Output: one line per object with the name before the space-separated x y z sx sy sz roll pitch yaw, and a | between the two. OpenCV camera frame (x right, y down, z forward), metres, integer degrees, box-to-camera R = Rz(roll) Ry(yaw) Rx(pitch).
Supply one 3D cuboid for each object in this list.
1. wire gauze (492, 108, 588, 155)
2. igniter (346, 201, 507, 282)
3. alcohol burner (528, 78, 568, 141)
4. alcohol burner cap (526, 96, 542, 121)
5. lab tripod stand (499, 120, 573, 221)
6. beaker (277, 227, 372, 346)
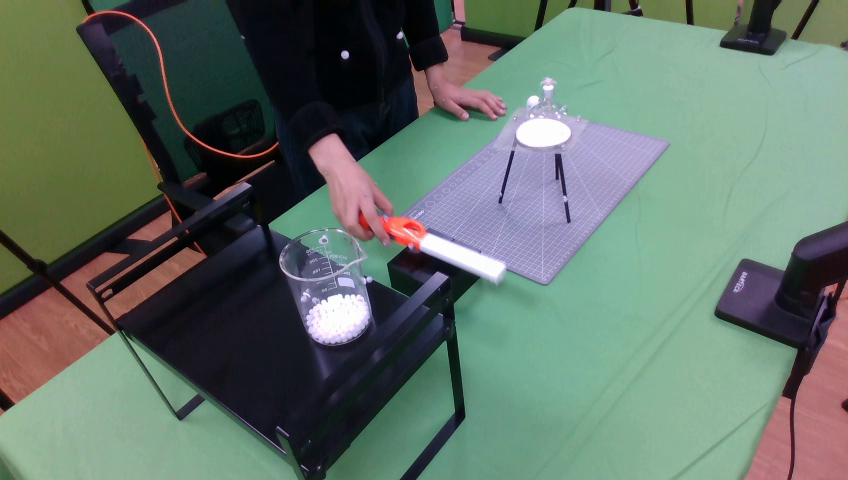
wire gauze | 0.185 -0.170 0.953 0.121 0.011 0.125 13 44 22
igniter | -0.007 -0.002 0.884 0.274 0.025 0.057 23 45 26
alcohol burner | 0.238 -0.253 1.163 0.078 0.119 0.077 -6 40 6
alcohol burner cap | 0.225 -0.272 1.243 0.034 0.048 0.033 -5 41 5
lab tripod stand | 0.198 -0.117 0.992 0.148 0.132 0.147 -3 40 3
beaker | -0.090 0.048 0.593 0.084 0.101 0.073 -3 41 5
